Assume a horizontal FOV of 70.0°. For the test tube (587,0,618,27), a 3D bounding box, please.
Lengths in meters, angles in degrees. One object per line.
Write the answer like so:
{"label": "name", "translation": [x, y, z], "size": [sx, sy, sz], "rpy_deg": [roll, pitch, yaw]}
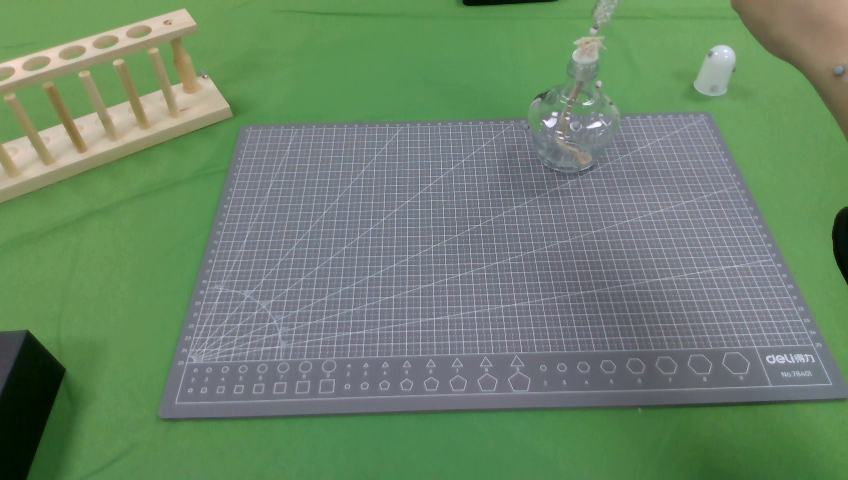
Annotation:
{"label": "test tube", "translation": [0.146, -0.207, 0.397], "size": [0.017, 0.151, 0.017], "rpy_deg": [10, 50, -11]}

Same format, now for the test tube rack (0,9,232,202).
{"label": "test tube rack", "translation": [-0.309, -0.119, 0.542], "size": [0.242, 0.086, 0.066], "rpy_deg": [-26, 53, -20]}

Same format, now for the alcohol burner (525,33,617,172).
{"label": "alcohol burner", "translation": [0.126, -0.117, 0.507], "size": [0.078, 0.120, 0.077], "rpy_deg": [0, 47, 1]}

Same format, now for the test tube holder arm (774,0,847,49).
{"label": "test tube holder arm", "translation": [0.198, -0.169, 0.375], "size": [0.177, 0.015, 0.013], "rpy_deg": [43, 56, 17]}

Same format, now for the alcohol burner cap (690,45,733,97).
{"label": "alcohol burner cap", "translation": [0.287, -0.169, 0.598], "size": [0.034, 0.048, 0.033], "rpy_deg": [-1, 49, 2]}
